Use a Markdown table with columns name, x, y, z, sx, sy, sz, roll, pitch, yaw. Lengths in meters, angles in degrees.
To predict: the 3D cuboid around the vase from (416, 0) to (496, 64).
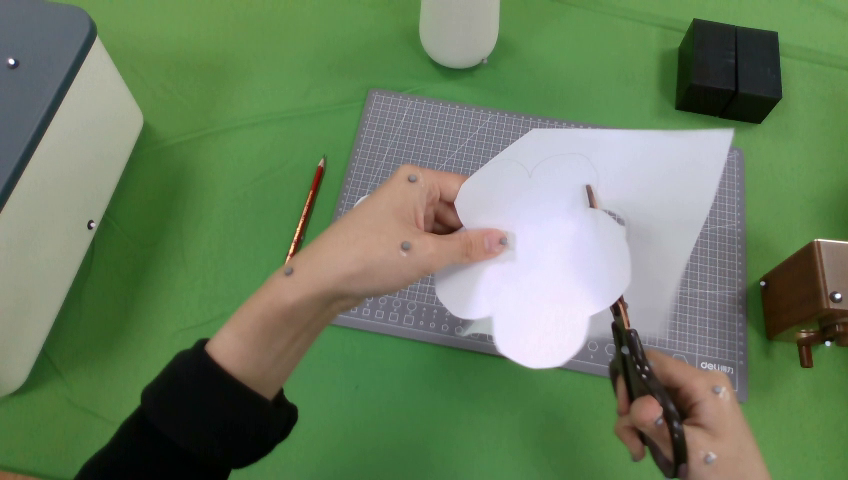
| name | x | y | z | sx | sy | sz | roll | pitch | yaw |
| --- | --- | --- | --- | --- | --- | --- | --- | --- | --- |
| vase | 0.038 | -0.295 | 0.682 | 0.098 | 0.201 | 0.097 | 0 | 65 | 1 |

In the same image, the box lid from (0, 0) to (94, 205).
| name | x | y | z | sx | sy | sz | roll | pitch | yaw |
| --- | --- | --- | --- | --- | --- | --- | --- | --- | --- |
| box lid | -0.473 | -0.085 | 0.523 | 0.263 | 0.015 | 0.369 | 10 | 66 | 3 |

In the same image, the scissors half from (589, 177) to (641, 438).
| name | x | y | z | sx | sy | sz | roll | pitch | yaw |
| --- | --- | --- | --- | --- | --- | --- | --- | --- | --- |
| scissors half | 0.115 | 0.045 | 0.364 | 0.013 | 0.039 | 0.176 | -16 | 112 | 0 |

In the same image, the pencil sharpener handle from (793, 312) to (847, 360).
| name | x | y | z | sx | sy | sz | roll | pitch | yaw |
| --- | --- | --- | --- | --- | --- | --- | --- | --- | --- |
| pencil sharpener handle | 0.370 | 0.090 | 0.555 | 0.036 | 0.068 | 0.030 | 12 | 66 | -12 |

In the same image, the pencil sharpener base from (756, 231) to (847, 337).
| name | x | y | z | sx | sy | sz | roll | pitch | yaw |
| --- | --- | --- | --- | --- | --- | --- | --- | --- | --- |
| pencil sharpener base | 0.379 | 0.049 | 0.586 | 0.061 | 0.108 | 0.076 | 6 | 67 | 2 |

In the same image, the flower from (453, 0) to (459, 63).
| name | x | y | z | sx | sy | sz | roll | pitch | yaw |
| --- | --- | --- | --- | --- | --- | --- | --- | --- | --- |
| flower | 0.033 | -0.342 | 0.612 | 0.044 | 0.365 | 0.038 | 3 | 48 | 5 |

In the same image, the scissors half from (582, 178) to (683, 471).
| name | x | y | z | sx | sy | sz | roll | pitch | yaw |
| --- | --- | --- | --- | --- | --- | --- | --- | --- | --- |
| scissors half | 0.116 | 0.048 | 0.343 | 0.013 | 0.040 | 0.175 | -17 | 90 | -5 |

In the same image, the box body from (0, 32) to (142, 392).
| name | x | y | z | sx | sy | sz | roll | pitch | yaw |
| --- | --- | --- | --- | --- | --- | --- | --- | --- | --- |
| box body | -0.473 | -0.052 | 0.591 | 0.254 | 0.161 | 0.361 | 10 | 67 | 4 |

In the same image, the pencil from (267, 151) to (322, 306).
| name | x | y | z | sx | sy | sz | roll | pitch | yaw |
| --- | --- | --- | --- | --- | --- | --- | --- | --- | --- |
| pencil | -0.138 | -0.019 | 0.664 | 0.012 | 0.012 | 0.193 | 11 | 65 | 5 |
